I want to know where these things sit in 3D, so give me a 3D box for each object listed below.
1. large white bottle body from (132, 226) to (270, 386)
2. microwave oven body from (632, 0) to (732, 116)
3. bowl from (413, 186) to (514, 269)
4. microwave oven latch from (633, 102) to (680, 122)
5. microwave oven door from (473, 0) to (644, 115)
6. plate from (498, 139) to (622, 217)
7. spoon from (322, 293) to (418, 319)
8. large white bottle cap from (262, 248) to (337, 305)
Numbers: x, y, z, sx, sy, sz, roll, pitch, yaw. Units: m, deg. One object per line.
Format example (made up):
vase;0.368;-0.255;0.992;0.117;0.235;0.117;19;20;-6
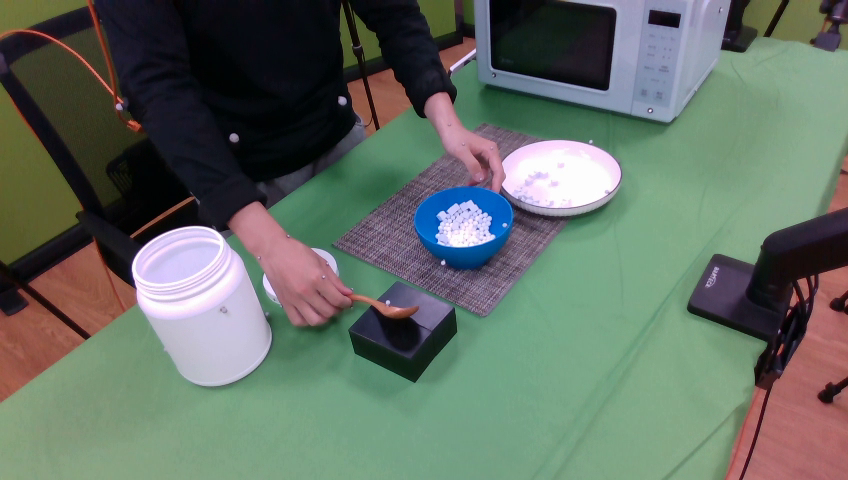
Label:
large white bottle body;-0.286;0.085;0.784;0.130;0.185;0.130;-4;41;4
microwave oven body;0.377;-0.463;1.267;0.438;0.261;0.327;21;49;30
bowl;0.062;-0.008;0.920;0.151;0.077;0.150;-4;40;4
microwave oven latch;0.443;-0.249;1.157;0.078;0.029;0.030;21;49;30
microwave oven door;0.257;-0.396;1.199;0.353;0.245;0.039;21;48;29
plate;0.231;-0.103;1.038;0.209;0.038;0.208;-4;41;4
spoon;-0.080;0.085;0.824;0.042;0.021;0.192;-8;12;-43
large white bottle cap;-0.193;0.055;0.934;0.115;0.018;0.114;-4;39;4
